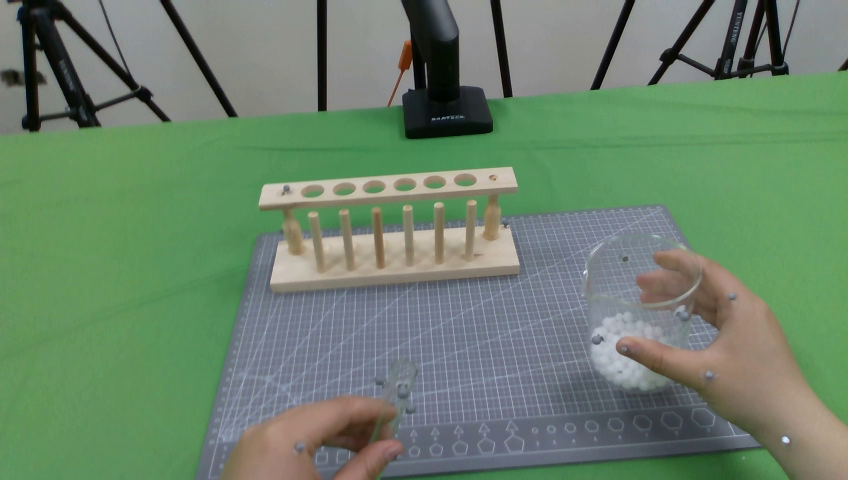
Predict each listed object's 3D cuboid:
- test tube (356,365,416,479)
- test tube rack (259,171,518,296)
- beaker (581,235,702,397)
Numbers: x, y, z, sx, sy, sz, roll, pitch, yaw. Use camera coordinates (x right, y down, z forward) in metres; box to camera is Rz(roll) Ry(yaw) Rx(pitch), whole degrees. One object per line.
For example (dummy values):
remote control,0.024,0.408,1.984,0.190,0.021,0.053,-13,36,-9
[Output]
test tube,-0.028,0.129,0.373,0.017,0.151,0.017,10,38,-8
test tube rack,-0.031,-0.006,0.590,0.242,0.086,0.066,-4,40,-1
beaker,0.152,0.059,0.439,0.084,0.101,0.073,-20,38,-10
